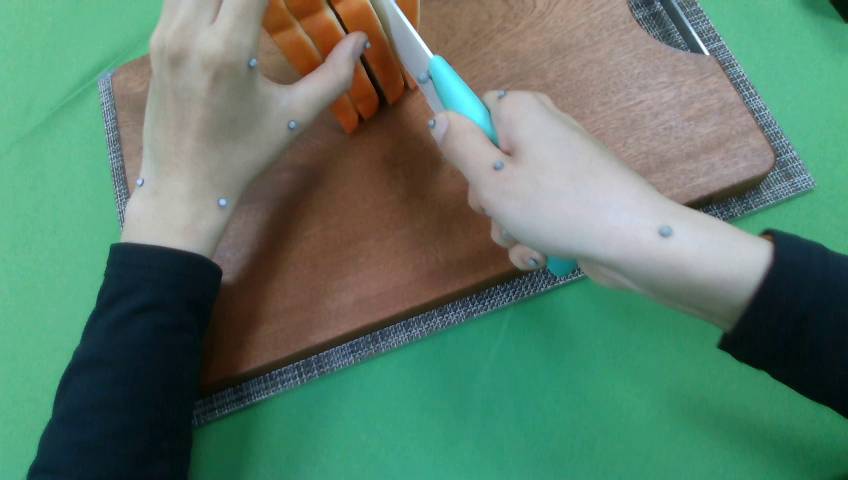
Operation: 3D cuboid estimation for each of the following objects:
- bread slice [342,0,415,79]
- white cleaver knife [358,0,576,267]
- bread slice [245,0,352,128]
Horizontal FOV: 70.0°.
[{"bbox_3d":[-0.038,-0.175,0.373,0.019,0.132,0.104,-33,70,-9],"label":"bread slice"},{"bbox_3d":[0.000,-0.104,0.354,0.021,0.066,0.284,-31,75,-3],"label":"white cleaver knife"},{"bbox_3d":[-0.088,-0.145,0.373,0.018,0.135,0.106,-28,64,4],"label":"bread slice"}]
